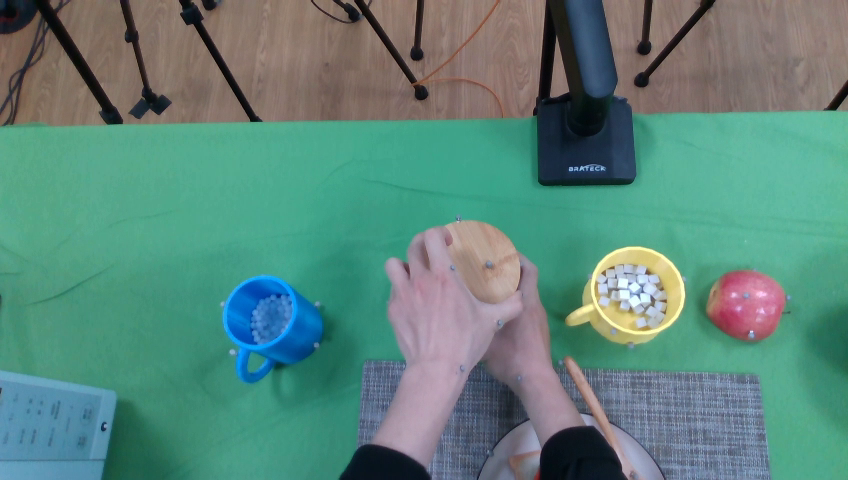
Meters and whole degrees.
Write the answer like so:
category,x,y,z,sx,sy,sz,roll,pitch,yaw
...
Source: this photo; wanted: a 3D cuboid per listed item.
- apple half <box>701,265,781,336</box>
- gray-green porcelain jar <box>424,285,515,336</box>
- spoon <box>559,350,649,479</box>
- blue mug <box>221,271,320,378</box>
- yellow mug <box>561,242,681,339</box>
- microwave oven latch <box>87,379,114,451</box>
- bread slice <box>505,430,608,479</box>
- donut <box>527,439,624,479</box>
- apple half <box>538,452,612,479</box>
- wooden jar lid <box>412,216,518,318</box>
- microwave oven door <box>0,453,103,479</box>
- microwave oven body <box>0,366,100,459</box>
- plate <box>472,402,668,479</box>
category,x,y,z,sx,sy,sz,roll,pitch,yaw
apple half,0.360,0.063,0.682,0.074,0.054,0.080,22,76,15
gray-green porcelain jar,0.049,0.049,0.681,0.106,0.127,0.105,-2,71,6
spoon,0.195,0.205,0.640,0.041,0.022,0.193,-24,80,-5
blue mug,-0.181,0.104,0.698,0.082,0.106,0.116,21,75,13
yellow mug,0.218,0.065,0.690,0.131,0.064,0.099,-22,71,-1
microwave oven latch,-0.385,0.202,0.703,0.030,0.030,0.078,5,73,7
bread slice,0.156,0.276,0.638,0.107,0.018,0.133,-16,72,0
donut,0.154,0.253,0.615,0.099,0.048,0.098,-1,71,4
apple half,0.148,0.245,0.580,0.081,0.033,0.080,-6,65,12
wooden jar lid,0.042,0.029,0.622,0.108,0.021,0.107,-2,71,6
microwave oven door,-0.409,0.378,0.540,0.039,0.245,0.353,0,71,7
microwave oven body,-0.551,0.338,0.574,0.326,0.262,0.439,1,72,6
plate,0.151,0.278,0.637,0.207,0.039,0.206,-2,72,6
